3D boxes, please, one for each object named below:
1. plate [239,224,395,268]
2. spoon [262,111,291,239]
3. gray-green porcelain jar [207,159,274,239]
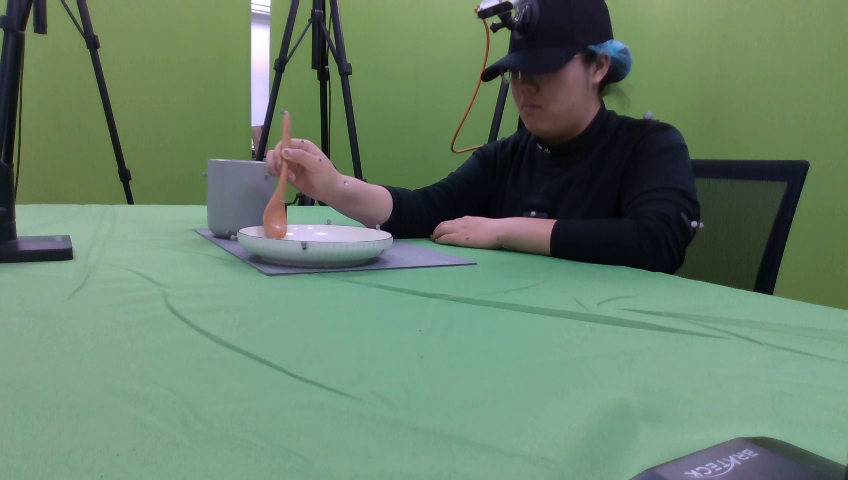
[{"bbox_3d":[-0.144,0.007,0.823,0.208,0.039,0.207,3,7,0],"label":"plate"},{"bbox_3d":[-0.207,-0.096,0.882,0.021,0.193,0.042,-1,-11,42],"label":"spoon"},{"bbox_3d":[-0.304,-0.068,1.003,0.106,0.126,0.106,3,7,0],"label":"gray-green porcelain jar"}]
